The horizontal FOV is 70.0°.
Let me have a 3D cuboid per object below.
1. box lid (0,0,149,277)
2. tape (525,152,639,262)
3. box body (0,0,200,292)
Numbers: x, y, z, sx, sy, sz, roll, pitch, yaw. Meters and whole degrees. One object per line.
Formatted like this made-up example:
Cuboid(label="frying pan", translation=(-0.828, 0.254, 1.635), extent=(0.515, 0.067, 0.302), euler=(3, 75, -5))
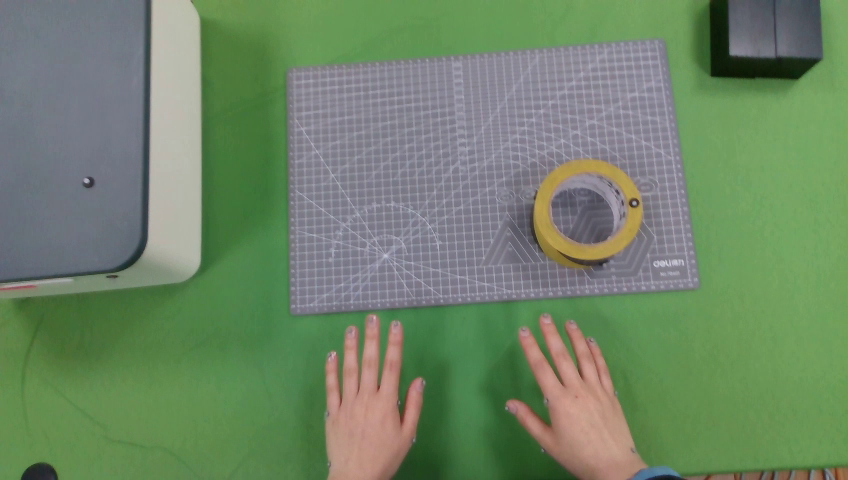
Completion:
Cuboid(label="box lid", translation=(-0.391, -0.149, 0.572), extent=(0.263, 0.015, 0.370), euler=(-5, 80, 2))
Cuboid(label="tape", translation=(0.170, -0.034, 0.653), extent=(0.117, 0.053, 0.116), euler=(-1, 79, 4))
Cuboid(label="box body", translation=(-0.387, -0.132, 0.644), extent=(0.254, 0.161, 0.362), euler=(-5, 79, 1))
